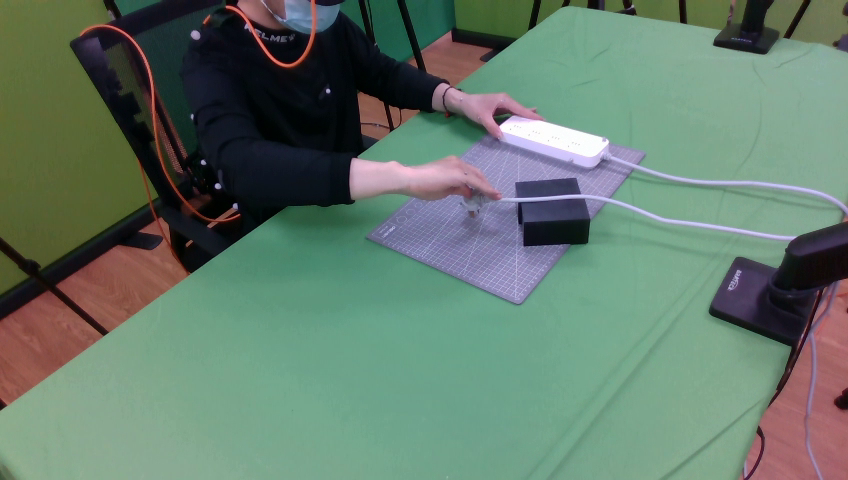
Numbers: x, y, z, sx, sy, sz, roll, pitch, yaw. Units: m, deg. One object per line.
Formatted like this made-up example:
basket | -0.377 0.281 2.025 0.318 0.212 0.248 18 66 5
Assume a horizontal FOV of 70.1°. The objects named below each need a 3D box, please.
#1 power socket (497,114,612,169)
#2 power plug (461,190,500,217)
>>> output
power socket | 0.240 -0.189 1.141 0.225 0.033 0.072 25 51 31
power plug | 0.089 -0.051 0.994 0.035 0.053 0.072 -22 52 -20
